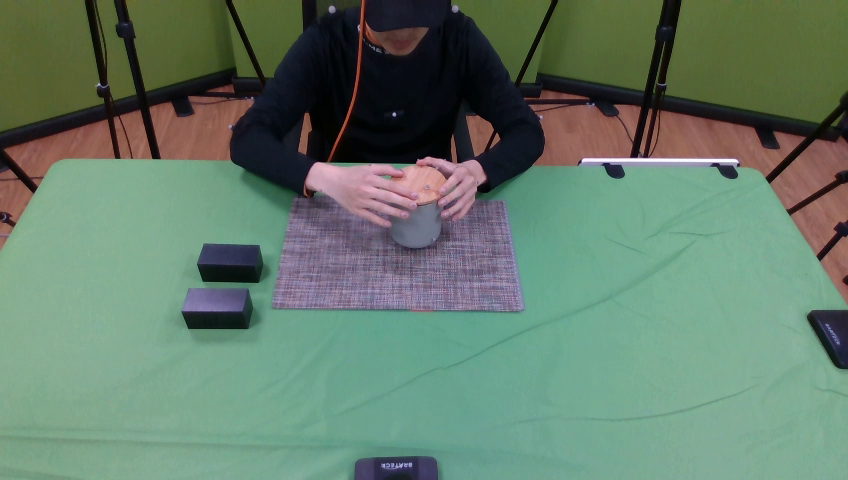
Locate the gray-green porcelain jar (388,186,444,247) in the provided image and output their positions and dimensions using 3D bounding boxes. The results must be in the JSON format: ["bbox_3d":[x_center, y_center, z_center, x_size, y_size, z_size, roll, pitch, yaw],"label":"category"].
[{"bbox_3d":[-0.017,-0.057,1.172,0.106,0.127,0.105,2,46,-2],"label":"gray-green porcelain jar"}]

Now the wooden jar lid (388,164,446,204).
[{"bbox_3d":[-0.012,-0.101,1.125,0.108,0.021,0.107,0,45,0],"label":"wooden jar lid"}]
